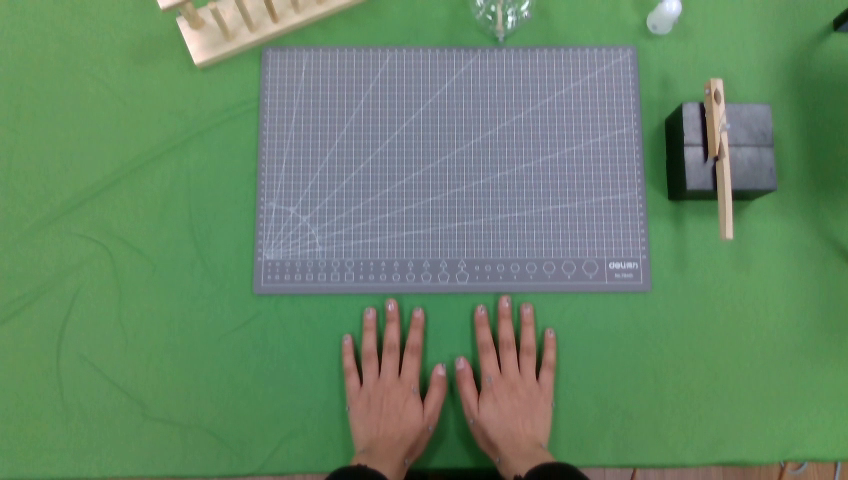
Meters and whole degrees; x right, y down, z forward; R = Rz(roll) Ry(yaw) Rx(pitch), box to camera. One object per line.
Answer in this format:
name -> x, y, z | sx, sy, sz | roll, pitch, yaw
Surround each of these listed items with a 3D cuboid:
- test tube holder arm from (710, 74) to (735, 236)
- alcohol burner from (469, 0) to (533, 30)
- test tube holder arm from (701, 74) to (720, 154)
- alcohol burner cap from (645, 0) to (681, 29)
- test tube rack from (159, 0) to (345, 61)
test tube holder arm -> 0.322, -0.093, 0.657 | 0.013, 0.015, 0.178 | -4, 83, -3
alcohol burner -> 0.090, -0.289, 0.682 | 0.078, 0.119, 0.077 | 0, 82, -2
test tube holder arm -> 0.314, -0.137, 0.661 | 0.010, 0.015, 0.087 | -2, 83, -3
alcohol burner cap -> 0.286, -0.276, 0.718 | 0.034, 0.048, 0.033 | 0, 81, 1
test tube rack -> -0.173, -0.298, 0.693 | 0.242, 0.085, 0.066 | -24, 82, -4
